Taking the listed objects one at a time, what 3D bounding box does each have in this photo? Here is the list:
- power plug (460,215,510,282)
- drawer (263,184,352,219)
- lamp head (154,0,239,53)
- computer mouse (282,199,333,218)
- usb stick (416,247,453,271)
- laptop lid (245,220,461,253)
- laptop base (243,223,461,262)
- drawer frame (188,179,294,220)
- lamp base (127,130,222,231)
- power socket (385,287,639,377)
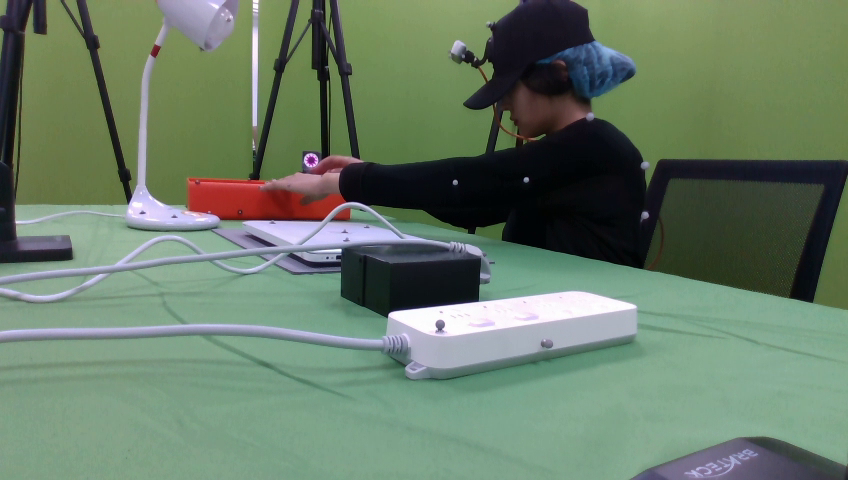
[{"bbox_3d":[0.064,0.011,0.624,0.053,0.072,0.035,-3,39,-3],"label":"power plug"},{"bbox_3d":[-0.297,-0.093,1.422,0.213,0.073,0.193,-2,10,-25],"label":"drawer"},{"bbox_3d":[-0.406,-0.402,1.059,0.123,0.112,0.112,25,6,-6],"label":"lamp head"},{"bbox_3d":[-0.273,-0.076,1.418,0.118,0.041,0.062,1,5,-23],"label":"computer mouse"},{"bbox_3d":[0.009,0.024,0.755,0.027,0.021,0.059,37,-17,-17],"label":"usb stick"},{"bbox_3d":[-0.124,-0.009,0.945,0.243,0.013,0.355,1,7,-29],"label":"laptop lid"},{"bbox_3d":[-0.126,0.003,0.945,0.237,0.023,0.352,2,6,-31],"label":"laptop base"},{"bbox_3d":[-0.416,-0.094,1.368,0.214,0.082,0.201,-2,9,-23],"label":"drawer frame"},{"bbox_3d":[-0.469,-0.112,1.108,0.179,0.180,0.160,0,7,3],"label":"lamp base"},{"bbox_3d":[0.074,0.064,0.461,0.228,0.032,0.072,-3,8,-34],"label":"power socket"}]
